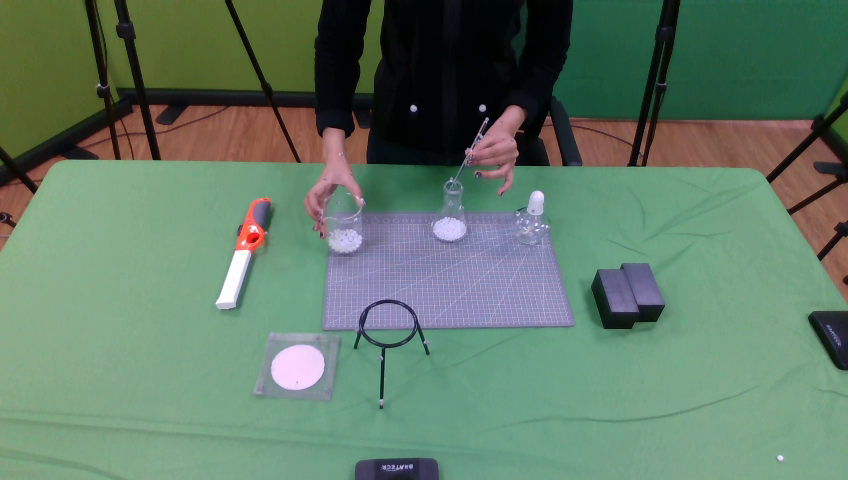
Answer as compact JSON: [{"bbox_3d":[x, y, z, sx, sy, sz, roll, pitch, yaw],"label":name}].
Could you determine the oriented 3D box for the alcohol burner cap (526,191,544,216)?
[{"bbox_3d":[0.216,-0.073,1.170,0.034,0.048,0.033,0,42,0],"label":"alcohol burner cap"}]

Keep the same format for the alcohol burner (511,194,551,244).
[{"bbox_3d":[0.215,-0.048,1.196,0.078,0.119,0.077,4,46,-4],"label":"alcohol burner"}]

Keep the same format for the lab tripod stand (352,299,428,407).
[{"bbox_3d":[-0.056,0.166,0.958,0.148,0.132,0.147,3,44,-2],"label":"lab tripod stand"}]

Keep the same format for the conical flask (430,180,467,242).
[{"bbox_3d":[0.052,-0.060,1.188,0.075,0.122,0.075,2,46,-2],"label":"conical flask"}]

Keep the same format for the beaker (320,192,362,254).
[{"bbox_3d":[-0.155,-0.028,1.139,0.084,0.101,0.073,-30,54,-28],"label":"beaker"}]

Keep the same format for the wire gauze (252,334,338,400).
[{"bbox_3d":[-0.209,0.204,0.996,0.125,0.011,0.120,3,45,1],"label":"wire gauze"}]

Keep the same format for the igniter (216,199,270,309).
[{"bbox_3d":[-0.342,0.016,1.153,0.057,0.025,0.275,-3,45,7],"label":"igniter"}]

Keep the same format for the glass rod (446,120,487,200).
[{"bbox_3d":[0.075,-0.140,1.101,0.008,0.200,0.008,12,48,-13],"label":"glass rod"}]
